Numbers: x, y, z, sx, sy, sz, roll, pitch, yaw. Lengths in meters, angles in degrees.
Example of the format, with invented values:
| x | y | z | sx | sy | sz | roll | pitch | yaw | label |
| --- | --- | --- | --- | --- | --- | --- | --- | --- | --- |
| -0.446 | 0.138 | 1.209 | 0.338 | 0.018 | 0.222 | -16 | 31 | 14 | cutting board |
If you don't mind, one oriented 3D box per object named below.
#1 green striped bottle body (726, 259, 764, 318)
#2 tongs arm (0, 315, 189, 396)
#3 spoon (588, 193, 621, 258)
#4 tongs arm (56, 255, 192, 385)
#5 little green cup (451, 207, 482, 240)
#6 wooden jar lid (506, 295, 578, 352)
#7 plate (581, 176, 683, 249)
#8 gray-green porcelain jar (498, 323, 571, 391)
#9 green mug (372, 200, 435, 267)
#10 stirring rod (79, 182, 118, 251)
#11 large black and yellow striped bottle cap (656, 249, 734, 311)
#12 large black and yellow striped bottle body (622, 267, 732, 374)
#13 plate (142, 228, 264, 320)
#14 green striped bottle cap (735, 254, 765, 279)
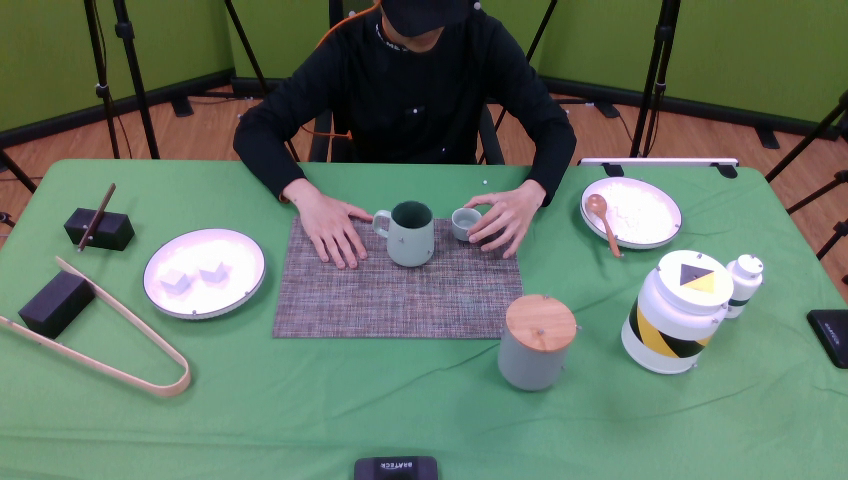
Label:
| x | y | z | sx | sy | sz | roll | pitch | yaw | label |
| --- | --- | --- | --- | --- | --- | --- | --- | --- | --- |
| 0.563 | 0.081 | 1.089 | 0.063 | 0.120 | 0.063 | 2 | 46 | -2 | green striped bottle body |
| -0.555 | 0.170 | 0.981 | 0.384 | 0.026 | 0.050 | 21 | 43 | 14 | tongs arm |
| 0.367 | -0.032 | 1.220 | 0.041 | 0.022 | 0.192 | 2 | 38 | -1 | spoon |
| -0.517 | 0.126 | 1.033 | 0.386 | 0.028 | 0.028 | 30 | 43 | 23 | tongs arm |
| 0.082 | -0.031 | 1.194 | 0.061 | 0.039 | 0.061 | 3 | 50 | -4 | little green cup |
| 0.179 | 0.130 | 0.926 | 0.108 | 0.021 | 0.107 | 2 | 43 | -2 | wooden jar lid |
| 0.430 | -0.054 | 1.267 | 0.209 | 0.038 | 0.208 | 2 | 46 | -2 | plate |
| 0.176 | 0.172 | 0.971 | 0.106 | 0.127 | 0.105 | 2 | 46 | -2 | gray-green porcelain jar |
| -0.040 | -0.016 | 1.146 | 0.125 | 0.105 | 0.092 | 17 | 48 | 13 | green mug |
| -0.605 | -0.047 | 1.131 | 0.006 | 0.014 | 0.175 | 0 | 47 | 0 | stirring rod |
| 0.419 | 0.061 | 0.938 | 0.115 | 0.019 | 0.114 | 2 | 47 | -2 | large black and yellow striped bottle cap |
| 0.415 | 0.119 | 0.997 | 0.131 | 0.185 | 0.130 | 2 | 46 | -2 | large black and yellow striped bottle body |
| -0.394 | 0.064 | 1.095 | 0.208 | 0.039 | 0.206 | 2 | 46 | -2 | plate |
| 0.566 | 0.046 | 1.051 | 0.044 | 0.020 | 0.044 | 0 | 45 | 0 | green striped bottle cap |
